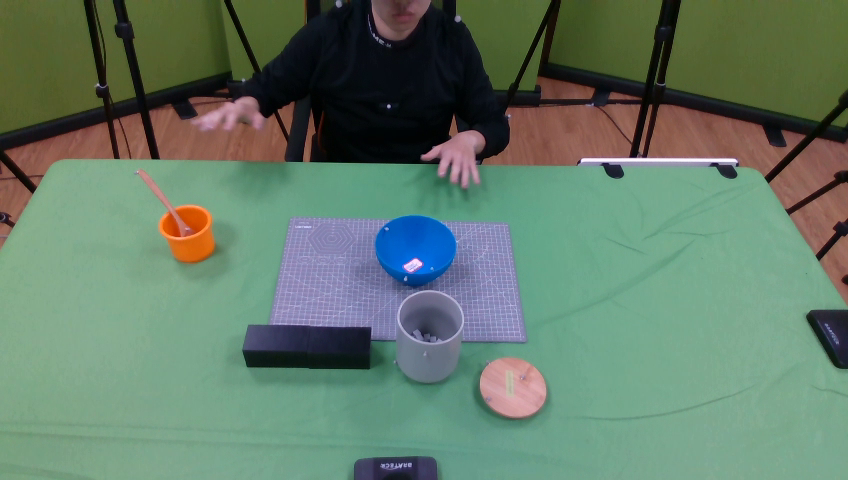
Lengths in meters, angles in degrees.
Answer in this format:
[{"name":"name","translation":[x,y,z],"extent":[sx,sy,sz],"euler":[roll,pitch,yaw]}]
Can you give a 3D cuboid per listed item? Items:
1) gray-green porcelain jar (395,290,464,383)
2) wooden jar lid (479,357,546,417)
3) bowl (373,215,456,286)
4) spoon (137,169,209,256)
[{"name":"gray-green porcelain jar","translation":[0.006,0.160,0.972],"extent":[0.106,0.127,0.105],"euler":[2,46,-2]},{"name":"wooden jar lid","translation":[0.142,0.240,0.979],"extent":[0.108,0.021,0.107],"euler":[1,46,-1]},{"name":"bowl","translation":[-0.019,0.032,1.123],"extent":[0.151,0.077,0.150],"euler":[2,46,-2]},{"name":"spoon","translation":[-0.466,-0.051,1.123],"extent":[0.041,0.194,0.021],"euler":[-41,16,-34]}]
